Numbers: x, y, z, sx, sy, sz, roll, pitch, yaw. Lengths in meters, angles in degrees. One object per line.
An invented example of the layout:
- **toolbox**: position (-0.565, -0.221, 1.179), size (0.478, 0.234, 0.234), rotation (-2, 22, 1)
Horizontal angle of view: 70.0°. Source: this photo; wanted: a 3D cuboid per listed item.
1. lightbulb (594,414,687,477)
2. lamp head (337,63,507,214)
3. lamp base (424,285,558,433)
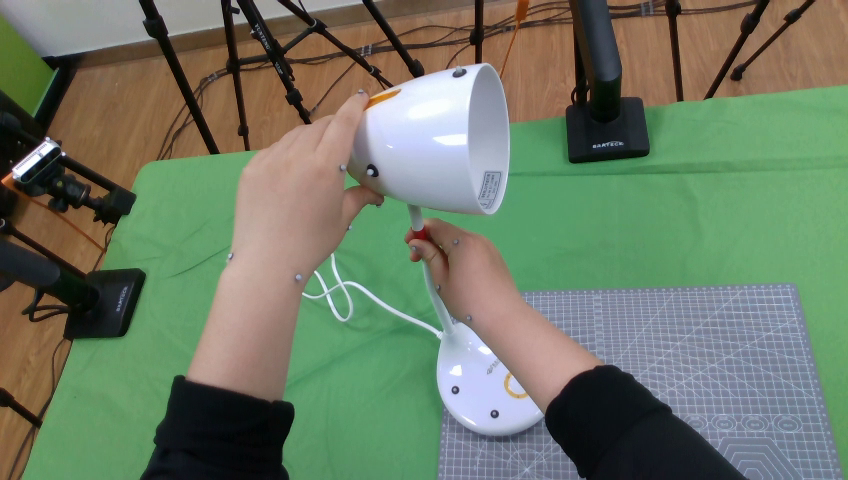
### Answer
- **lightbulb**: position (0.246, 0.230, 0.695), size (0.107, 0.060, 0.059), rotation (16, 64, 41)
- **lamp head**: position (-0.003, -0.073, 0.474), size (0.122, 0.113, 0.111), rotation (-3, 58, 26)
- **lamp base**: position (0.064, 0.126, 0.729), size (0.178, 0.182, 0.160), rotation (21, 66, 29)
